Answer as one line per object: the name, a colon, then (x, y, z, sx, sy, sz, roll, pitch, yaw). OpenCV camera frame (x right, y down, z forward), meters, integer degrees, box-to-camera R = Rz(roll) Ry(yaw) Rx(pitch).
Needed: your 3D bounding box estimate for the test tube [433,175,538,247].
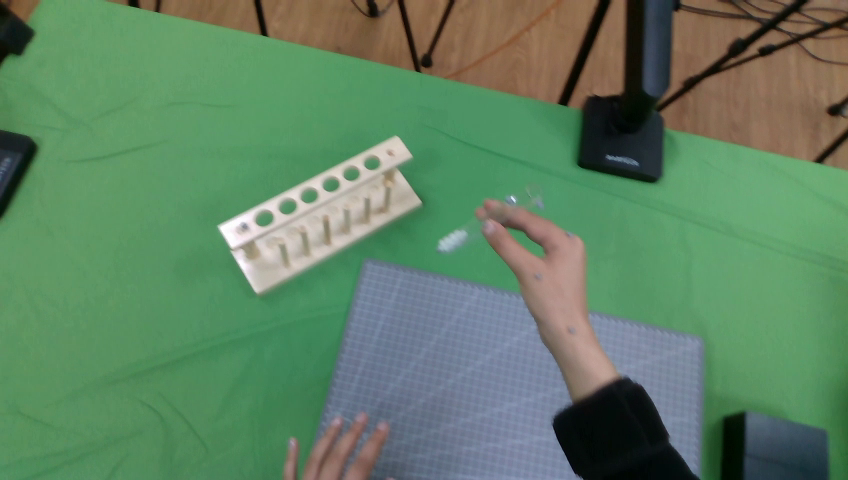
test tube: (0.050, -0.022, 0.551, 0.017, 0.150, 0.017, 12, 65, -27)

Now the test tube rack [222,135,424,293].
test tube rack: (-0.115, -0.033, 0.751, 0.242, 0.085, 0.066, -29, 73, -17)
